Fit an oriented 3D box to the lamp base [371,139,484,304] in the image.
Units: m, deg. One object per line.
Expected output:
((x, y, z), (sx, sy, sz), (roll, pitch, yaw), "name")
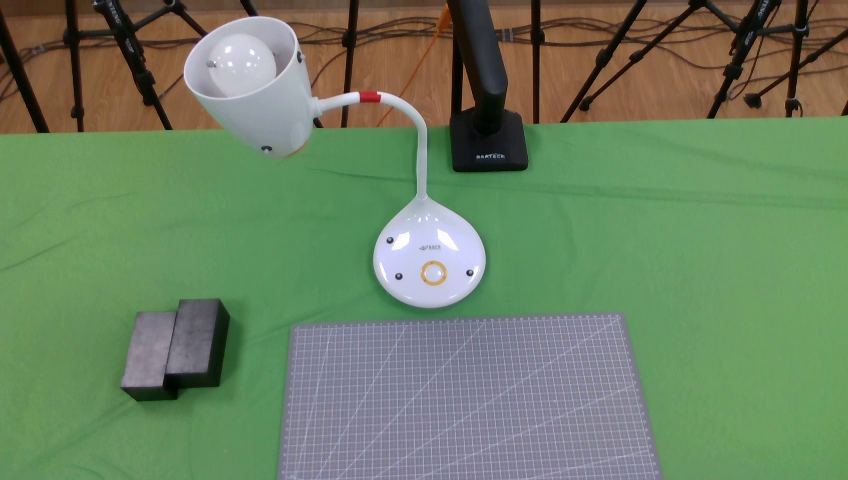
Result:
((0.002, -0.032, 0.800), (0.161, 0.182, 0.177), (-13, 56, -9), "lamp base")

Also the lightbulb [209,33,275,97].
((-0.168, -0.152, 0.590), (0.059, 0.108, 0.059), (-3, 63, 7), "lightbulb")

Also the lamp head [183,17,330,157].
((-0.159, -0.145, 0.613), (0.112, 0.124, 0.111), (-8, 59, 13), "lamp head")
